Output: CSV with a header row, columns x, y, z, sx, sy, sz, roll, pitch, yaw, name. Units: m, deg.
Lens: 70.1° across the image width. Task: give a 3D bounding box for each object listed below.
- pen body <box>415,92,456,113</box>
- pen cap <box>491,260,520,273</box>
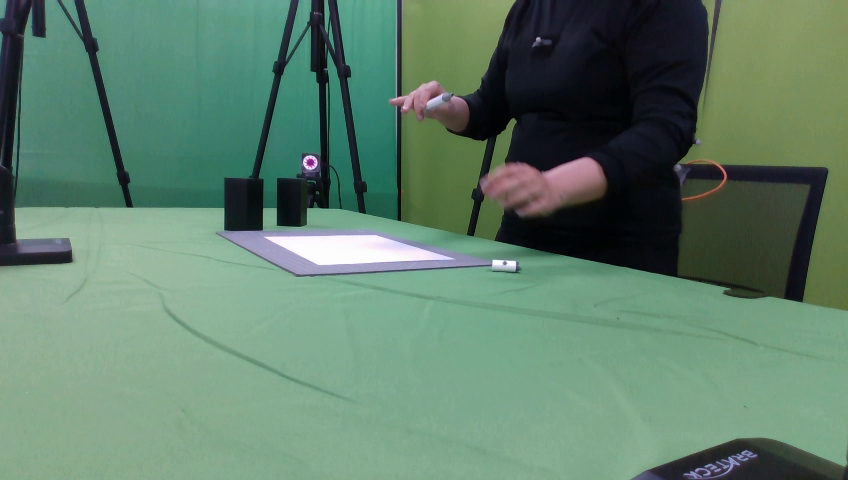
x,y,z,sx,sy,sz,roll,pitch,yaw,name
0.022,-0.249,1.092,0.017,0.017,0.143,-1,-1,-26,pen body
0.110,0.036,0.813,0.038,0.017,0.017,3,7,7,pen cap
